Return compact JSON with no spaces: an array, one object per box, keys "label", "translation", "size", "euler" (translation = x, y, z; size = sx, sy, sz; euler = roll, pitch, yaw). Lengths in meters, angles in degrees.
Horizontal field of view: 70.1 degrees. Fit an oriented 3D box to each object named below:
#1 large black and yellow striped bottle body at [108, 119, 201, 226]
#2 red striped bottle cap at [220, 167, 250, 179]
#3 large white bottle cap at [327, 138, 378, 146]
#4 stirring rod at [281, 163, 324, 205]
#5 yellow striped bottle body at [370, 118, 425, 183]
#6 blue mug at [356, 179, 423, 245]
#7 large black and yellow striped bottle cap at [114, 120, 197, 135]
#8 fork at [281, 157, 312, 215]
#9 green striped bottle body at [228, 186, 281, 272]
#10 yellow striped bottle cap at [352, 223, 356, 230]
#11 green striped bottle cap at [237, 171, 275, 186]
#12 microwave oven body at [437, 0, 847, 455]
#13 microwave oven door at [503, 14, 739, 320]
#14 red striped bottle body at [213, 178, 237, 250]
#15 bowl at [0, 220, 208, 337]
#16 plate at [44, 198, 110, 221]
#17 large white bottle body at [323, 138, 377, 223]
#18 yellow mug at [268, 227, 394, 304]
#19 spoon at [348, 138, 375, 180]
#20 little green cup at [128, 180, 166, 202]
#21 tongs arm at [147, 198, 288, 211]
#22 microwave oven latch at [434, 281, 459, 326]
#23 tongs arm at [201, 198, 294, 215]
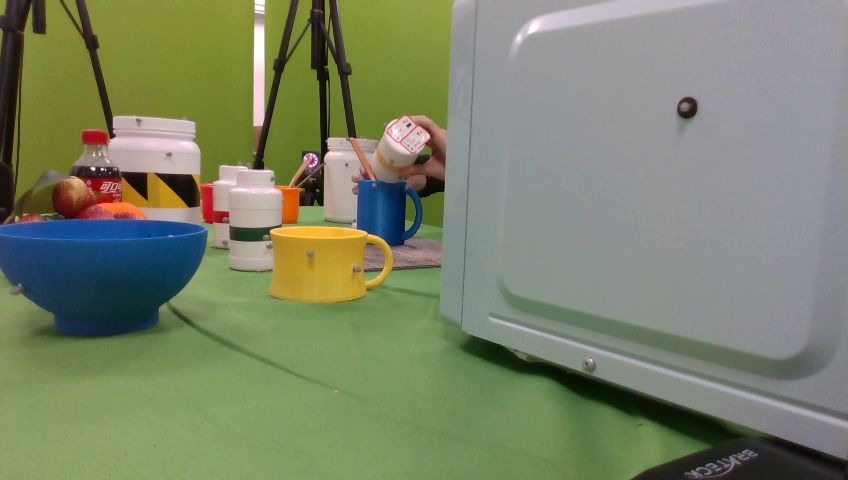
[{"label":"large black and yellow striped bottle body","translation":[-0.412,-0.088,0.930],"size":[0.131,0.184,0.130],"euler":[3,7,0]},{"label":"red striped bottle cap","translation":[-0.281,-0.100,0.901],"size":[0.044,0.017,0.044],"euler":[-1,5,0]},{"label":"large white bottle cap","translation":[-0.160,-0.218,1.357],"size":[0.115,0.018,0.115],"euler":[2,8,0]},{"label":"stirring rod","translation":[-0.278,-0.105,1.293],"size":[0.176,0.006,0.014],"euler":[-47,25,-18]},{"label":"yellow striped bottle body","translation":[-0.046,-0.132,0.940],"size":[0.063,0.062,0.120],"euler":[0,-22,-20]},{"label":"blue mug","translation":[-0.057,-0.047,1.007],"size":[0.116,0.106,0.082],"euler":[4,8,20]},{"label":"large black and yellow striped bottle cap","translation":[-0.407,-0.171,0.920],"size":[0.115,0.019,0.115],"euler":[2,9,0]},{"label":"fork","translation":[-0.289,-0.116,1.321],"size":[0.028,0.019,0.207],"euler":[6,51,19]},{"label":"green striped bottle body","translation":[-0.208,-0.023,0.745],"size":[0.063,0.119,0.063],"euler":[2,7,0]},{"label":"yellow striped bottle cap","translation":[-0.115,-0.022,1.144],"size":[0.044,0.018,0.044],"euler":[3,8,0]},{"label":"green striped bottle cap","translation":[-0.205,-0.074,0.738],"size":[0.044,0.020,0.044],"euler":[1,9,0]},{"label":"microwave oven body","translation":[0.279,-0.040,0.465],"size":[0.444,0.260,0.324],"euler":[-3,9,-41]},{"label":"microwave oven door","translation":[0.217,-0.065,0.601],"size":[0.358,0.243,0.039],"euler":[-4,10,-41]},{"label":"red striped bottle body","translation":[-0.284,-0.048,0.909],"size":[0.063,0.119,0.063],"euler":[3,10,0]},{"label":"bowl","translation":[-0.251,0.029,0.479],"size":[0.151,0.077,0.151],"euler":[2,7,0]},{"label":"plate","translation":[-0.617,-0.056,1.179],"size":[0.209,0.038,0.209],"euler":[3,7,0]},{"label":"large white bottle body","translation":[-0.163,-0.135,1.368],"size":[0.131,0.184,0.130],"euler":[2,7,0]},{"label":"yellow mug","translation":[-0.094,0.023,0.630],"size":[0.131,0.064,0.099],"euler":[0,8,-22]},{"label":"spoon","translation":[-0.087,-0.096,1.028],"size":[0.042,0.193,0.021],"euler":[-12,-18,-34]},{"label":"little green cup","translation":[-0.485,-0.087,1.062],"size":[0.061,0.038,0.061],"euler":[-1,6,0]},{"label":"tongs arm","translation":[-0.503,-0.091,1.513],"size":[0.028,0.028,0.389],"euler":[-1,4,38]},{"label":"microwave oven latch","translation":[0.044,0.045,0.470],"size":[0.079,0.029,0.030],"euler":[-3,8,-39]},{"label":"tongs arm","translation":[-0.423,-0.084,1.472],"size":[0.050,0.026,0.386],"euler":[2,6,22]}]
